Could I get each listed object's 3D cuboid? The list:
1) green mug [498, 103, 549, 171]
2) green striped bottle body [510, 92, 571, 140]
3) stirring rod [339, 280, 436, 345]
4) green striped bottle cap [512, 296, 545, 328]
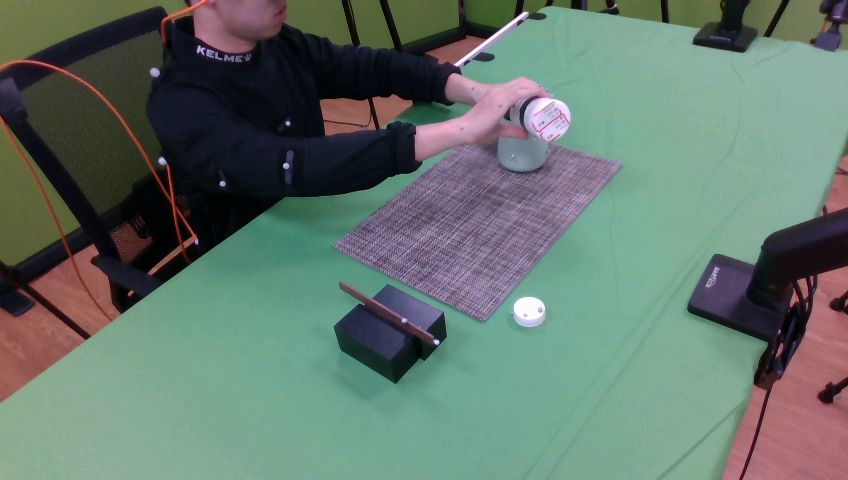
[{"bbox_3d":[0.182,-0.197,1.101,0.092,0.105,0.125,3,42,13],"label":"green mug"},{"bbox_3d":[0.181,-0.203,0.973,0.063,0.063,0.118,-16,25,-10],"label":"green striped bottle body"},{"bbox_3d":[-0.052,0.093,0.795,0.174,0.014,0.006,27,47,33],"label":"stirring rod"},{"bbox_3d":[0.144,0.099,0.837,0.044,0.020,0.044,-2,44,2],"label":"green striped bottle cap"}]
